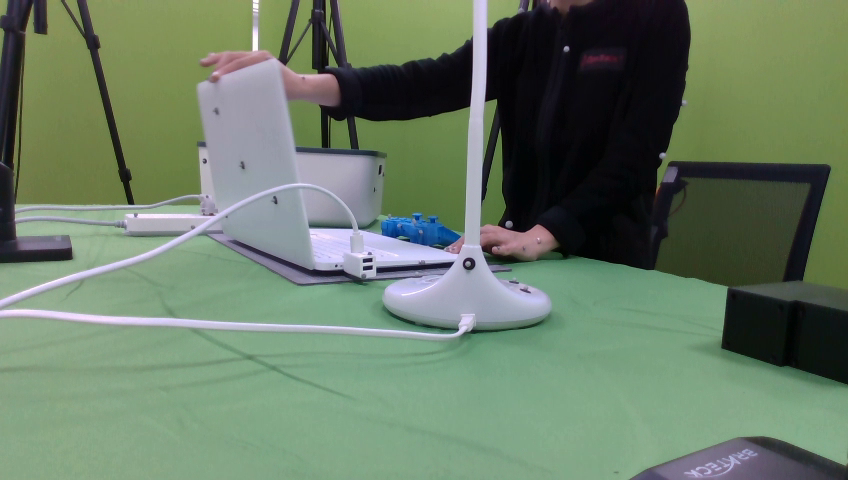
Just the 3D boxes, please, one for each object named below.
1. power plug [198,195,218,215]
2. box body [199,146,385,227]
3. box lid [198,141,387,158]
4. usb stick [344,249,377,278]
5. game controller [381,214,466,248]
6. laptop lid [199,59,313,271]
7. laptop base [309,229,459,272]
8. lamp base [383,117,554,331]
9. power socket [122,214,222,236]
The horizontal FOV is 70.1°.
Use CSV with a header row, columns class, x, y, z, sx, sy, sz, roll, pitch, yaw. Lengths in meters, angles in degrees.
class,x,y,z,sx,sy,sz,roll,pitch,yaw
power plug,-0.387,-0.055,1.089,0.035,0.052,0.072,-1,6,-22
box body,-0.276,-0.124,1.334,0.364,0.160,0.254,3,7,1
box lid,-0.275,-0.196,1.326,0.372,0.015,0.263,4,8,1
usb stick,-0.076,0.026,0.687,0.021,0.027,0.059,-7,8,-31
game controller,-0.006,-0.017,1.039,0.097,0.051,0.154,-5,10,-33
laptop lid,-0.233,-0.099,0.794,0.013,0.241,0.355,-13,16,-32
laptop base,-0.122,0.012,0.889,0.237,0.023,0.352,2,6,-35
lamp base,0.045,-0.019,0.547,0.161,0.180,0.179,2,10,-4
power socket,-0.399,-0.028,1.049,0.228,0.032,0.072,-3,8,-34
